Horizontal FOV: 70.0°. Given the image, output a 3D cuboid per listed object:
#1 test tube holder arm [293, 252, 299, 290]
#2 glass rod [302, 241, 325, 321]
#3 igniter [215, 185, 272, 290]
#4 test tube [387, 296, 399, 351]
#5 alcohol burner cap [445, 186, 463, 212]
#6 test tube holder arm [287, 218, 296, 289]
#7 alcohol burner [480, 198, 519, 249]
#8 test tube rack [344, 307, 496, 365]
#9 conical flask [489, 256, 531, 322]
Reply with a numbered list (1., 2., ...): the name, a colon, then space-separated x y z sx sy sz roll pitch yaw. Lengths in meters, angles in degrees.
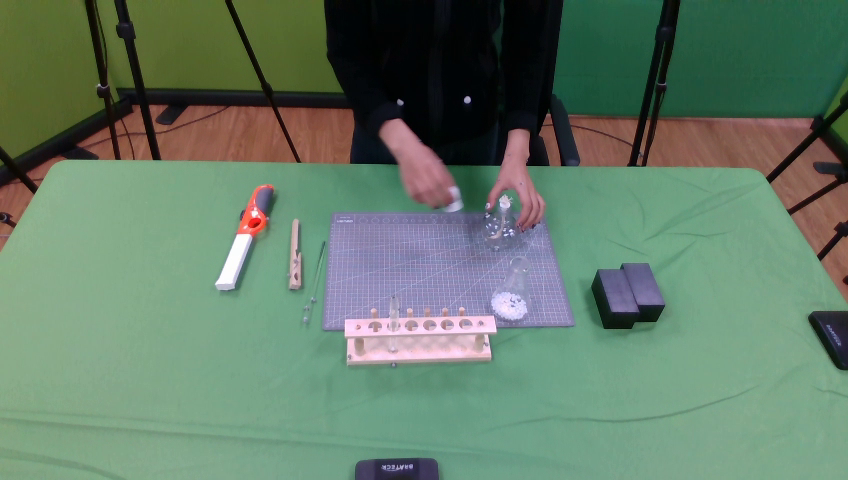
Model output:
1. test tube holder arm: -0.241 0.056 1.131 0.010 0.015 0.087 24 36 -33
2. glass rod: -0.204 0.072 1.124 0.008 0.008 0.198 4 43 1
3. igniter: -0.347 -0.014 1.182 0.057 0.025 0.275 -1 45 8
4. test tube: -0.049 0.135 0.953 0.017 0.151 0.017 2 51 -3
5. alcohol burner cap: 0.054 -0.080 1.134 0.034 0.048 0.033 -6 44 6
6. test tube holder arm: -0.253 0.022 1.158 0.013 0.015 0.177 23 36 -34
7. alcohol burner: 0.150 -0.039 1.182 0.078 0.119 0.077 3 47 -3
8. test tube rack: -0.009 0.154 1.007 0.242 0.085 0.066 -1 46 -5
9. conical flask: 0.158 0.081 1.061 0.075 0.122 0.075 2 46 -2
